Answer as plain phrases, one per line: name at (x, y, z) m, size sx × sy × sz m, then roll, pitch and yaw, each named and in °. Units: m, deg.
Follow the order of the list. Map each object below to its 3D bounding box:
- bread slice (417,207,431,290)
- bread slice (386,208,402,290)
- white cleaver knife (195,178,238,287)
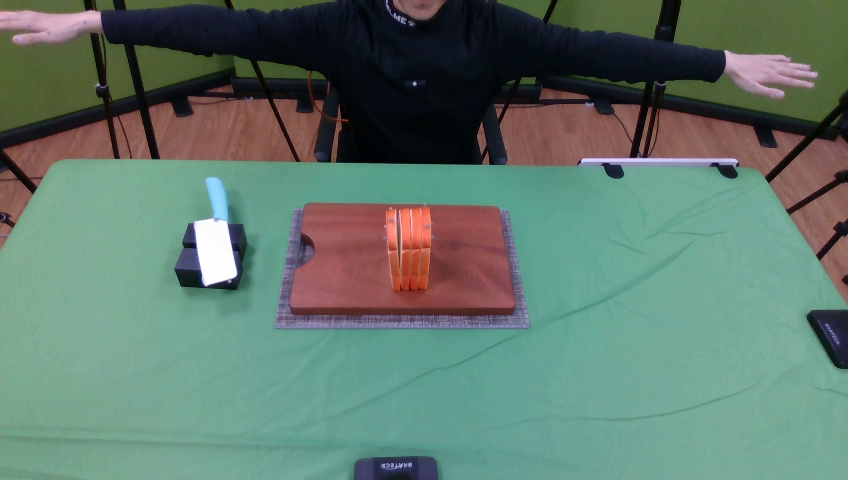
bread slice at (0.000, 0.009, 1.071) m, size 0.018 × 0.135 × 0.106 m, roll 0°, pitch 49°, yaw -4°
bread slice at (-0.053, 0.009, 1.069) m, size 0.019 × 0.132 × 0.104 m, roll -5°, pitch 46°, yaw 0°
white cleaver knife at (-0.393, -0.024, 1.132) m, size 0.066 × 0.021 × 0.284 m, roll -11°, pitch 46°, yaw -14°
